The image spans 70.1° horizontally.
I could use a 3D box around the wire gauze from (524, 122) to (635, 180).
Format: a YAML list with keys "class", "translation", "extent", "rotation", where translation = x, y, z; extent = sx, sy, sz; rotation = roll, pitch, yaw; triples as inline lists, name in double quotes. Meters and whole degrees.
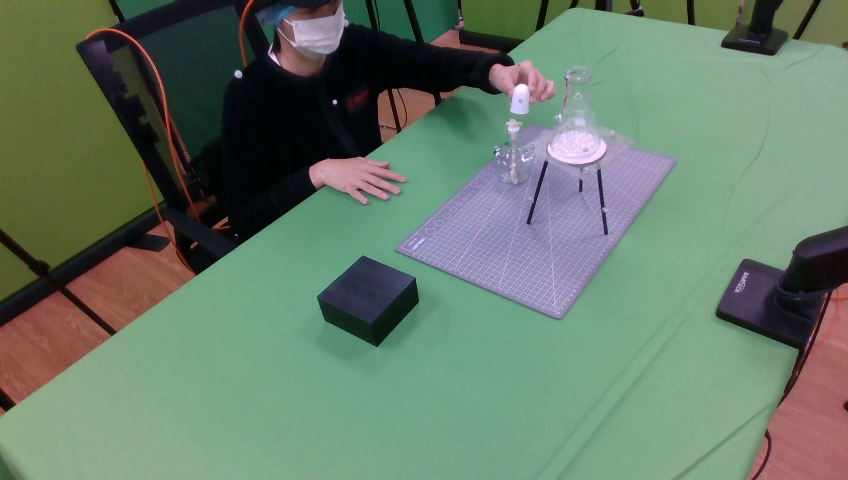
- class: "wire gauze"
  translation: [0.233, -0.141, 0.913]
  extent: [0.122, 0.011, 0.124]
  rotation: [-31, 42, -26]

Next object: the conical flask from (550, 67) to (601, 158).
- class: "conical flask"
  translation: [0.221, -0.186, 0.875]
  extent: [0.075, 0.122, 0.075]
  rotation: [-5, 40, 5]

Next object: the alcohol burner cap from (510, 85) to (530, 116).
- class: "alcohol burner cap"
  translation: [0.160, -0.234, 1.007]
  extent: [0.034, 0.048, 0.033]
  rotation: [1, 33, 0]

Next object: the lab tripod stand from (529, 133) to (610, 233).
- class: "lab tripod stand"
  translation: [0.236, -0.089, 0.953]
  extent: [0.148, 0.132, 0.147]
  rotation: [-5, 42, 5]

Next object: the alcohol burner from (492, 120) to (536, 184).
- class: "alcohol burner"
  translation: [0.159, -0.158, 1.064]
  extent: [0.078, 0.119, 0.077]
  rotation: [-3, 41, 3]
